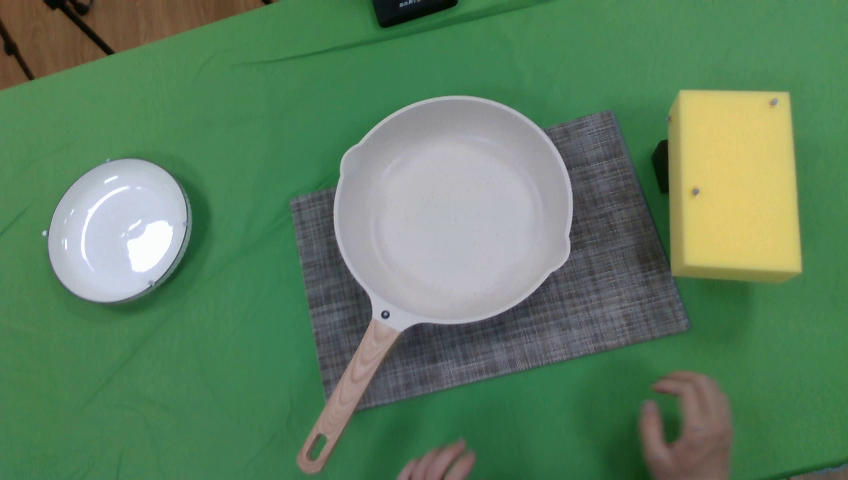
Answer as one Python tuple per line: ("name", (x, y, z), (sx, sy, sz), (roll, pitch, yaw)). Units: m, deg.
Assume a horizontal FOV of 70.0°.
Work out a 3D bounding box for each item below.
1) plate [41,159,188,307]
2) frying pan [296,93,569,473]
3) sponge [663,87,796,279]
("plate", (-0.420, -0.008, 0.837), (0.207, 0.039, 0.206), (-2, 75, 7))
("frying pan", (-0.018, 0.048, 0.728), (0.305, 0.103, 0.486), (26, 72, 15))
("sponge", (0.338, -0.065, 0.681), (0.118, 0.061, 0.206), (2, 76, 8))
